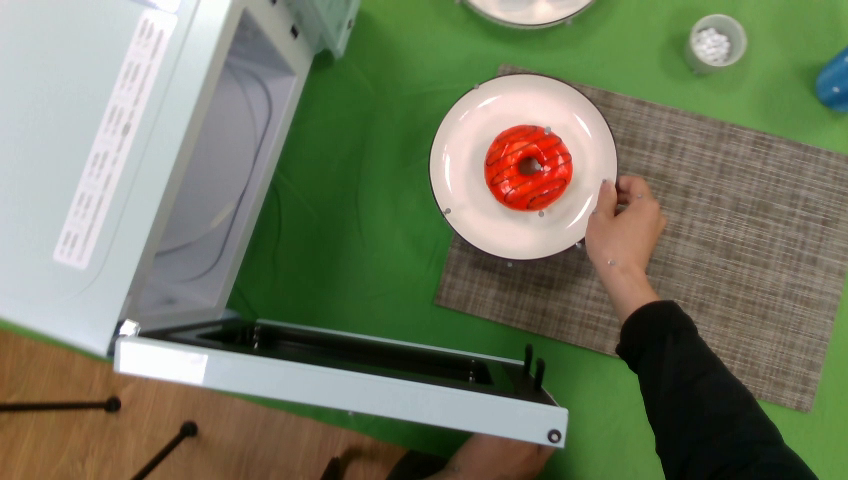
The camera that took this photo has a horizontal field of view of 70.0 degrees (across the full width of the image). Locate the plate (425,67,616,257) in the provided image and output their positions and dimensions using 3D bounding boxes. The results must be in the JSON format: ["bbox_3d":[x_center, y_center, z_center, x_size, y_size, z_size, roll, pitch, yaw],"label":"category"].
[{"bbox_3d":[0.106,-0.085,0.675,0.209,0.038,0.209,0,89,3],"label":"plate"}]

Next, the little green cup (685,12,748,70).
[{"bbox_3d":[0.336,-0.228,0.703,0.061,0.038,0.061,0,86,2],"label":"little green cup"}]

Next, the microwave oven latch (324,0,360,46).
[{"bbox_3d":[-0.094,-0.269,0.699,0.030,0.029,0.079,22,89,2],"label":"microwave oven latch"}]

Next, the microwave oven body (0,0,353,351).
[{"bbox_3d":[-0.296,-0.156,0.605,0.326,0.260,0.441,19,89,2],"label":"microwave oven body"}]

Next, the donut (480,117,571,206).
[{"bbox_3d":[0.110,-0.085,0.664,0.099,0.048,0.099,0,89,5],"label":"donut"}]

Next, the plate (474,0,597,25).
[{"bbox_3d":[0.131,-0.352,0.715,0.207,0.039,0.207,0,87,2],"label":"plate"}]

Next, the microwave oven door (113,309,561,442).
[{"bbox_3d":[-0.063,0.118,0.581,0.356,0.244,0.039,9,87,2],"label":"microwave oven door"}]

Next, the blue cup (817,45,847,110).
[{"bbox_3d":[0.490,-0.185,0.665,0.092,0.100,0.092,0,89,2],"label":"blue cup"}]
